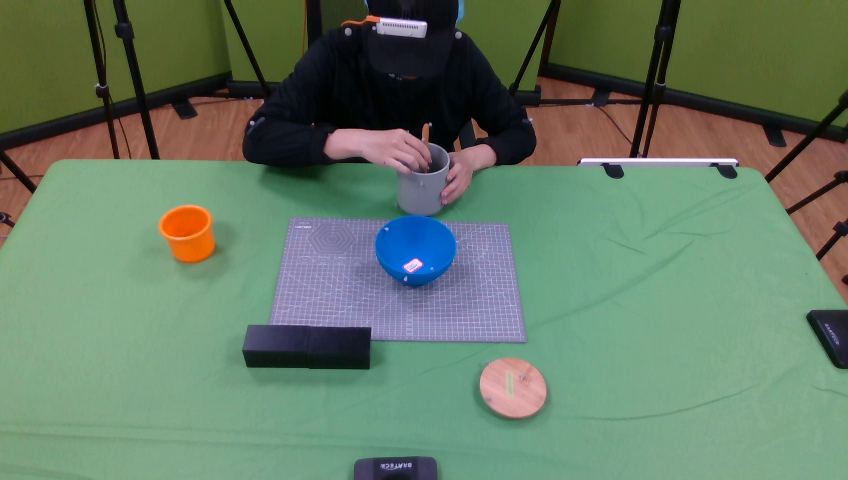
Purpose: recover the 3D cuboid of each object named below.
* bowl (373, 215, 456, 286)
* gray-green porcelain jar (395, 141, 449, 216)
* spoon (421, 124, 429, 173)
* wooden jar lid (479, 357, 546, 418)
[{"bbox_3d":[-0.019,0.032,1.122,0.151,0.077,0.150,2,46,-2],"label":"bowl"},{"bbox_3d":[-0.007,-0.120,1.241,0.106,0.127,0.105,2,46,-2],"label":"gray-green porcelain jar"},{"bbox_3d":[0.001,-0.137,1.196,0.042,0.194,0.021,-11,30,-17],"label":"spoon"},{"bbox_3d":[0.142,0.240,0.979,0.108,0.021,0.107,1,46,-1],"label":"wooden jar lid"}]
